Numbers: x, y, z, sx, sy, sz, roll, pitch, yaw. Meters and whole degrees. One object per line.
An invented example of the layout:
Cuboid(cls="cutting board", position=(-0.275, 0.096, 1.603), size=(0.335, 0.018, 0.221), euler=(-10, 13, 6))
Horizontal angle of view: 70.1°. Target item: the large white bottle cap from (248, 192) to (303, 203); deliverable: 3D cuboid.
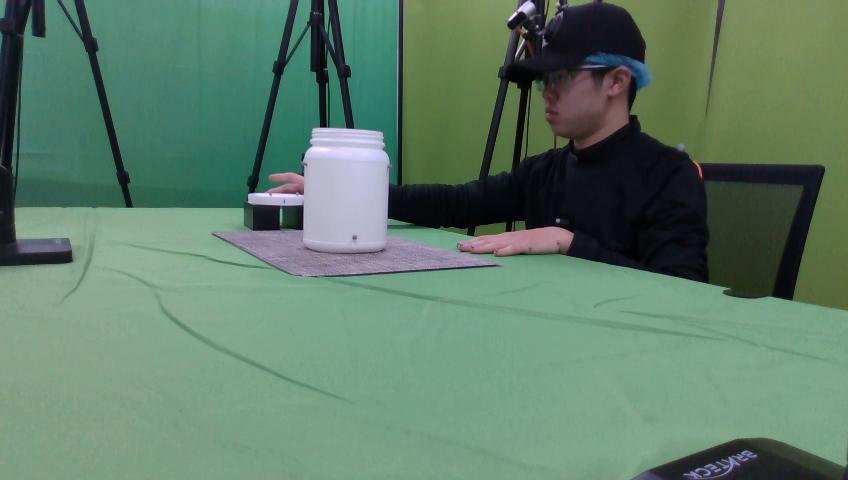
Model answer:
Cuboid(cls="large white bottle cap", position=(-0.294, -0.084, 1.213), size=(0.115, 0.018, 0.115), euler=(2, 7, 0))

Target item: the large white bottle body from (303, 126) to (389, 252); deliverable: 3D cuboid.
Cuboid(cls="large white bottle body", position=(-0.120, -0.079, 0.936), size=(0.131, 0.184, 0.130), euler=(2, 7, 0))
